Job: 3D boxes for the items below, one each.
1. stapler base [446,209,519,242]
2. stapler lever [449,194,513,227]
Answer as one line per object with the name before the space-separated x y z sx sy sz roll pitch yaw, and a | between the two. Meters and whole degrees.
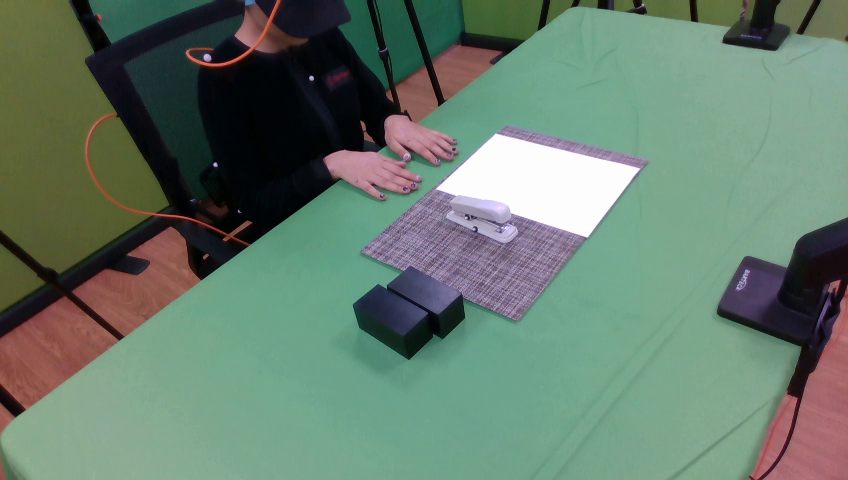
stapler base | 0.096 -0.035 1.000 0.129 0.024 0.041 24 47 35
stapler lever | 0.092 -0.054 0.985 0.117 0.040 0.027 25 48 35
